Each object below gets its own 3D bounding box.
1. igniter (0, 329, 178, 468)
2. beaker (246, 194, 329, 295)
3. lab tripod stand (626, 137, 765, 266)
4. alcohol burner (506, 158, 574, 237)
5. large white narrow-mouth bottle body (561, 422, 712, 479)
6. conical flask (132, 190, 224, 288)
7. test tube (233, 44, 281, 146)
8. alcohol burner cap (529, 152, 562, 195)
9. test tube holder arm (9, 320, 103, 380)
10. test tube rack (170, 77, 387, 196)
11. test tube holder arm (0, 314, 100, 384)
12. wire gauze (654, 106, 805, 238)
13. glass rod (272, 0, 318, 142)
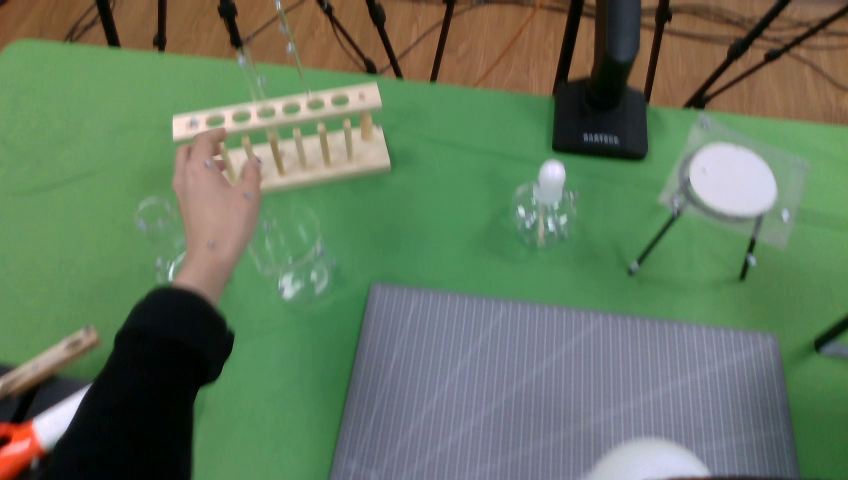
[{"bbox_3d":[-0.361,0.170,0.553,0.276,0.025,0.057,-33,67,-21],"label":"igniter"},{"bbox_3d":[-0.145,0.012,0.657,0.074,0.101,0.083,21,63,12],"label":"beaker"},{"bbox_3d":[0.302,-0.036,0.663,0.148,0.132,0.147,1,59,-1],"label":"lab tripod stand"},{"bbox_3d":[0.134,-0.055,0.687,0.078,0.120,0.077,1,59,-1],"label":"alcohol burner"},{"bbox_3d":[0.174,0.202,0.490,0.102,0.196,0.101,-1,62,1],"label":"large white narrow-mouth bottle body"},{"bbox_3d":[-0.270,-0.005,0.653,0.075,0.123,0.074,0,59,1],"label":"conical flask"},{"bbox_3d":[-0.192,-0.164,0.708,0.017,0.151,0.017,-2,56,3],"label":"test tube"},{"bbox_3d":[0.133,-0.075,0.656,0.034,0.048,0.033,0,59,0],"label":"alcohol burner cap"},{"bbox_3d":[-0.360,0.108,0.593,0.088,0.015,0.010,-31,64,-17],"label":"test tube holder arm"},{"bbox_3d":[-0.172,-0.126,0.743,0.243,0.086,0.066,-12,60,-7],"label":"test tube rack"},{"bbox_3d":[-0.400,0.127,0.581,0.178,0.015,0.013,-33,64,-18],"label":"test tube holder arm"},{"bbox_3d":[0.308,-0.070,0.605,0.121,0.011,0.124,27,64,13],"label":"wire gauze"},{"bbox_3d":[-0.145,-0.187,0.702,0.008,0.201,0.008,-3,53,4],"label":"glass rod"}]
